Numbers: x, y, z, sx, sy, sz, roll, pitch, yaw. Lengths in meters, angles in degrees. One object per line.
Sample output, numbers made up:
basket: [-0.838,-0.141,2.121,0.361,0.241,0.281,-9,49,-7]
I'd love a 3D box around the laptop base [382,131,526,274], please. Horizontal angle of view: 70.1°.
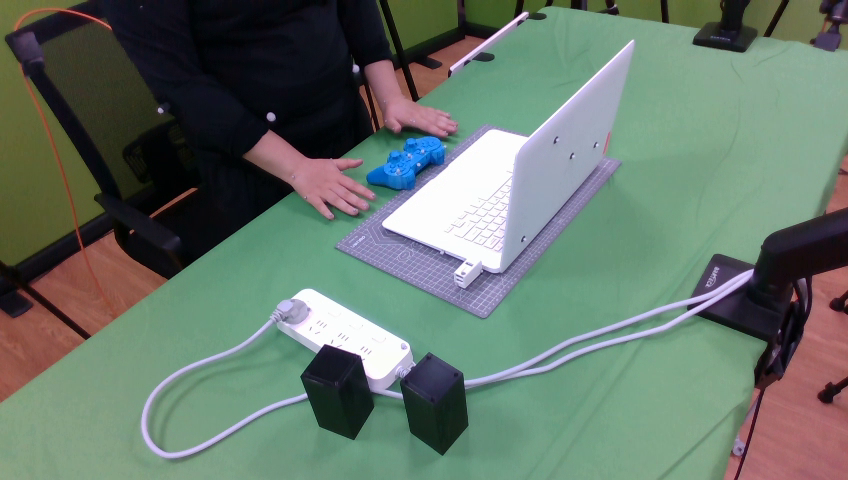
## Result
laptop base: [0.123,-0.081,1.049,0.233,0.023,0.355,20,47,33]

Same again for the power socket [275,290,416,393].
power socket: [-0.114,0.132,0.821,0.225,0.033,0.072,24,48,32]

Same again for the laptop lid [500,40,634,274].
laptop lid: [0.218,-0.128,0.906,0.013,0.242,0.358,28,50,25]

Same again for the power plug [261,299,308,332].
power plug: [-0.193,0.109,0.830,0.073,0.053,0.035,-35,47,-23]

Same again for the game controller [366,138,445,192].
game controller: [-0.030,-0.148,1.128,0.096,0.052,0.155,24,50,29]

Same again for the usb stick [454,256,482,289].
usb stick: [0.069,0.044,0.891,0.021,0.027,0.059,22,44,32]
